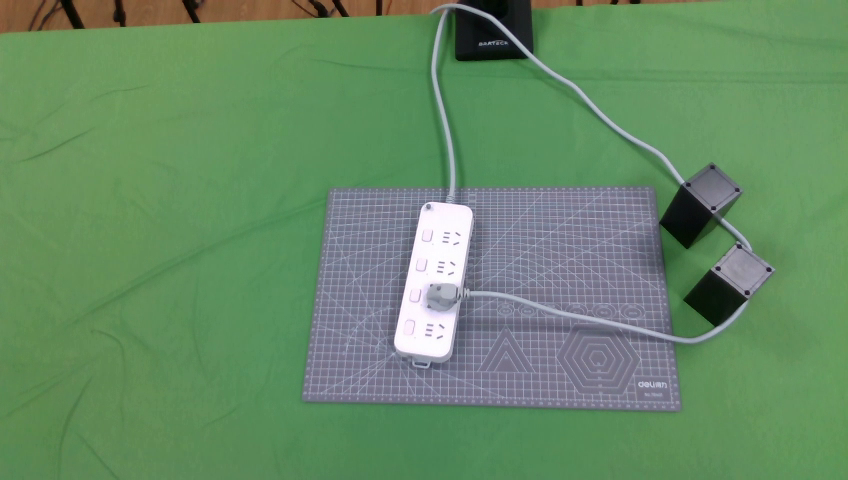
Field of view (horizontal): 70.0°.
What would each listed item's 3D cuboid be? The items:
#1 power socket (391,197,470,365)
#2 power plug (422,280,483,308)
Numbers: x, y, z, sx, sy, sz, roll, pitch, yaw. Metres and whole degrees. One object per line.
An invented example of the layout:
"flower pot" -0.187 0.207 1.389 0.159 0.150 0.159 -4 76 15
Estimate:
"power socket" 0.010 0.046 0.774 0.072 0.033 0.225 7 67 7
"power plug" 0.032 0.072 0.741 0.072 0.053 0.035 18 69 10
